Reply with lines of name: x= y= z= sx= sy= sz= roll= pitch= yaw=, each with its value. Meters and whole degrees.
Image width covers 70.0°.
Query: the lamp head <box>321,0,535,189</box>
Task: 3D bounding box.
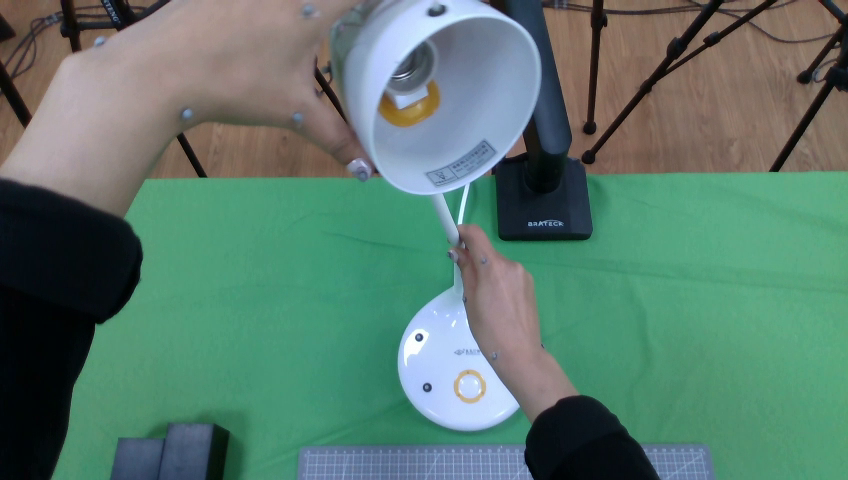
lamp head: x=-0.009 y=-0.105 z=0.373 sx=0.112 sy=0.113 sz=0.121 roll=-29 pitch=46 yaw=-12

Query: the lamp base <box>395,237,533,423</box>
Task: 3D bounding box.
lamp base: x=0.040 y=0.087 z=0.643 sx=0.161 sy=0.182 sz=0.177 roll=-11 pitch=61 yaw=-3

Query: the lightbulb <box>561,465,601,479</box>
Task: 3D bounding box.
lightbulb: x=0.186 y=0.270 z=0.619 sx=0.059 sy=0.060 sz=0.106 roll=-43 pitch=54 yaw=-18
